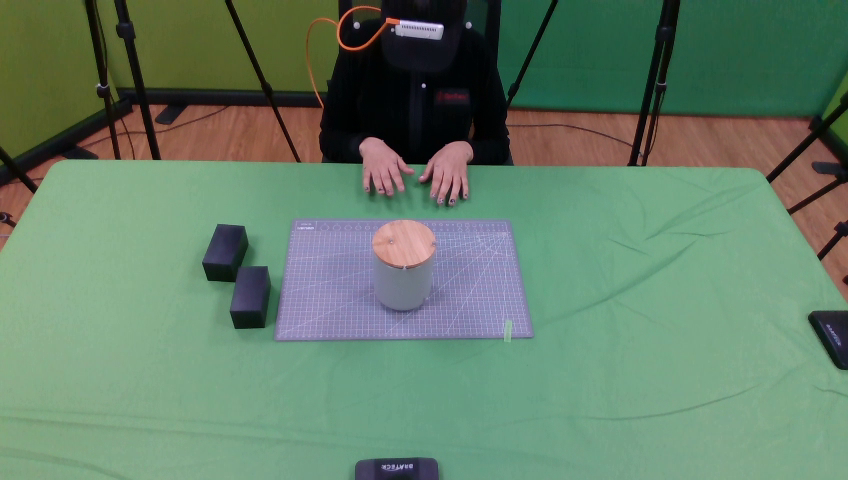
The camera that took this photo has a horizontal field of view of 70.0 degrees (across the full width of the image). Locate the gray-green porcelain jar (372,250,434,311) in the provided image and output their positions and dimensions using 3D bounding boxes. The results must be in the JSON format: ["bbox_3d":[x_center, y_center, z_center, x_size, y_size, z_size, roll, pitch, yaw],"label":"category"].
[{"bbox_3d":[-0.037,0.054,1.066,0.106,0.127,0.105,2,46,-2],"label":"gray-green porcelain jar"}]

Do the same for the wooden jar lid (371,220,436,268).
[{"bbox_3d":[-0.034,0.009,1.020,0.108,0.021,0.107,2,47,-2],"label":"wooden jar lid"}]
